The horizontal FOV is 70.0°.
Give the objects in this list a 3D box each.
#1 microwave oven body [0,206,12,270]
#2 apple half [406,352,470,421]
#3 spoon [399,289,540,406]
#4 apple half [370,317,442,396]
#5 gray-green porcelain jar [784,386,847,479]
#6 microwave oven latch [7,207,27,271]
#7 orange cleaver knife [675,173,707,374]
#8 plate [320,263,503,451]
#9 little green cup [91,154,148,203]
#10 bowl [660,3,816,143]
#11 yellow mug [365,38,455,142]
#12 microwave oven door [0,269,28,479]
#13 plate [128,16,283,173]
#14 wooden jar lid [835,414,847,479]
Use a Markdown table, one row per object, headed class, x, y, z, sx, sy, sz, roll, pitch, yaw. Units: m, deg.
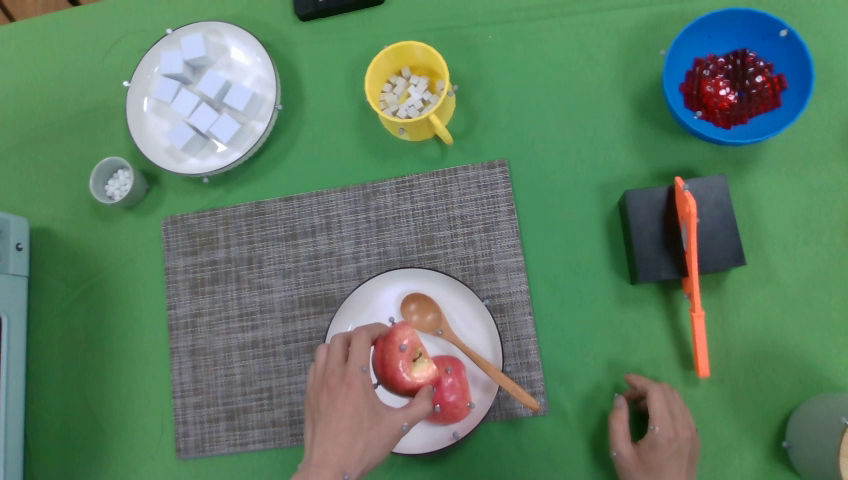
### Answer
| class | x | y | z | sx | sy | sz | roll | pitch | yaw |
| --- | --- | --- | --- | --- | --- | --- | --- | --- | --- |
| microwave oven body | -0.680 | 0.172 | 0.676 | 0.326 | 0.261 | 0.440 | -6 | 81 | 8 |
| apple half | 0.013 | 0.166 | 0.677 | 0.081 | 0.033 | 0.081 | -1 | 80 | 8 |
| spoon | 0.048 | 0.120 | 0.670 | 0.192 | 0.022 | 0.041 | 38 | 89 | 23 |
| apple half | -0.026 | 0.126 | 0.621 | 0.053 | 0.074 | 0.081 | -31 | 95 | -21 |
| gray-green porcelain jar | 0.415 | 0.194 | 0.573 | 0.105 | 0.127 | 0.105 | -1 | 81 | 9 |
| microwave oven latch | -0.531 | 0.000 | 0.778 | 0.030 | 0.029 | 0.079 | -5 | 81 | 8 |
| orange cleaver knife | 0.280 | 0.036 | 0.640 | 0.012 | 0.077 | 0.212 | -8 | 104 | 12 |
| plate | -0.014 | 0.131 | 0.692 | 0.209 | 0.038 | 0.208 | -1 | 82 | 9 |
| little green cup | -0.391 | -0.076 | 0.785 | 0.061 | 0.039 | 0.061 | -1 | 82 | 7 |
| bowl | 0.331 | -0.170 | 0.665 | 0.151 | 0.077 | 0.151 | -1 | 82 | 9 |
| yellow mug | -0.006 | -0.169 | 0.725 | 0.100 | 0.064 | 0.130 | -37 | 79 | 1 |
| microwave oven door | -0.534 | 0.199 | 0.644 | 0.039 | 0.245 | 0.354 | -6 | 80 | 8 |
| plate | -0.278 | -0.185 | 0.785 | 0.207 | 0.039 | 0.207 | -1 | 81 | 9 |
| wooden jar lid | 0.404 | 0.183 | 0.513 | 0.108 | 0.021 | 0.108 | -1 | 84 | 8 |
